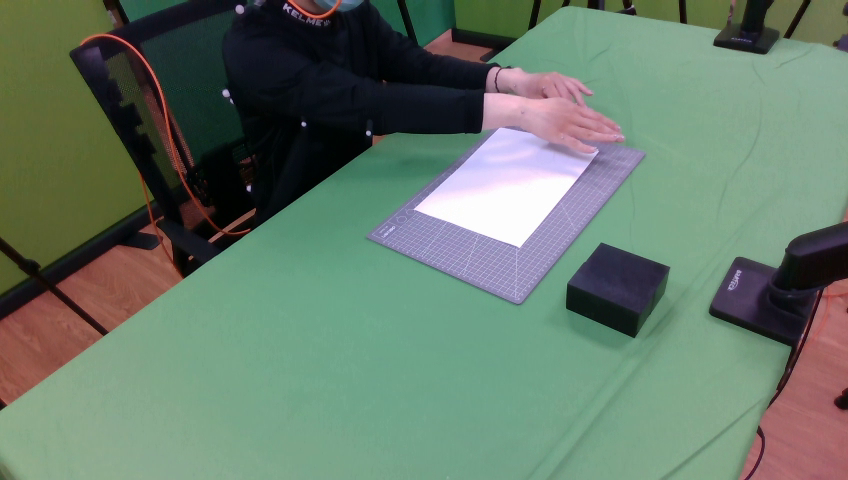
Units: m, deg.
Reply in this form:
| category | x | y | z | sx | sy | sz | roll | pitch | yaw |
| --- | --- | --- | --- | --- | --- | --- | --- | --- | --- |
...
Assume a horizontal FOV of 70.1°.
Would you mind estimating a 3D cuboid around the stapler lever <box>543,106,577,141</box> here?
| category | x | y | z | sx | sy | sz | roll | pitch | yaw |
| --- | --- | --- | --- | --- | --- | --- | --- | --- | --- |
| stapler lever | 0.262 | -0.232 | 1.161 | 0.026 | 0.040 | 0.118 | 20 | 47 | 25 |

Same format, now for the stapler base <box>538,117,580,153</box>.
| category | x | y | z | sx | sy | sz | roll | pitch | yaw |
| --- | --- | --- | --- | --- | --- | --- | --- | --- | --- |
| stapler base | 0.264 | -0.213 | 1.175 | 0.041 | 0.024 | 0.131 | 20 | 45 | 25 |
